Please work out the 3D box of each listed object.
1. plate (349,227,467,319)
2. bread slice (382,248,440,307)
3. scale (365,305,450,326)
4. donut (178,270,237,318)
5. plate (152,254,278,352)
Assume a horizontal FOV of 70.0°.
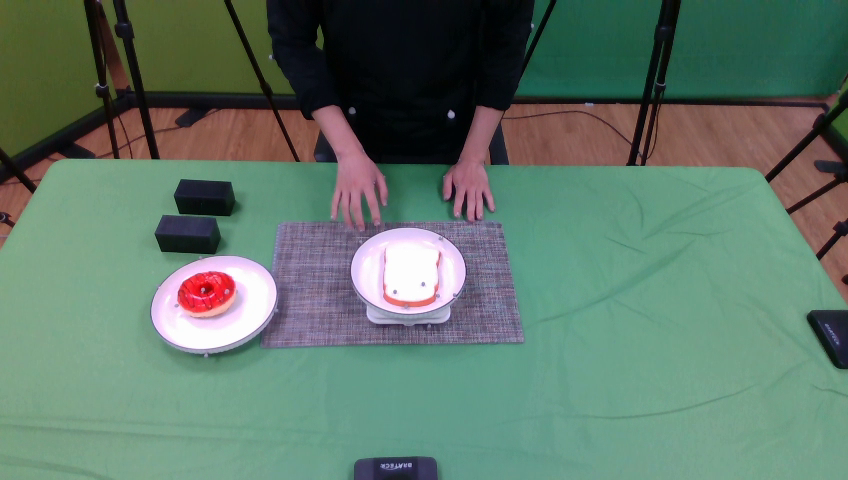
[{"bbox_3d":[-0.029,0.061,1.077,0.209,0.038,0.208,2,46,-2],"label":"plate"},{"bbox_3d":[-0.023,0.064,1.077,0.105,0.019,0.130,2,45,0],"label":"bread slice"},{"bbox_3d":[-0.032,0.071,1.113,0.149,0.032,0.199,0,46,-4],"label":"scale"},{"bbox_3d":[-0.375,0.092,1.053,0.099,0.048,0.098,1,42,0],"label":"donut"},{"bbox_3d":[-0.357,0.111,1.052,0.208,0.039,0.206,2,46,-2],"label":"plate"}]
